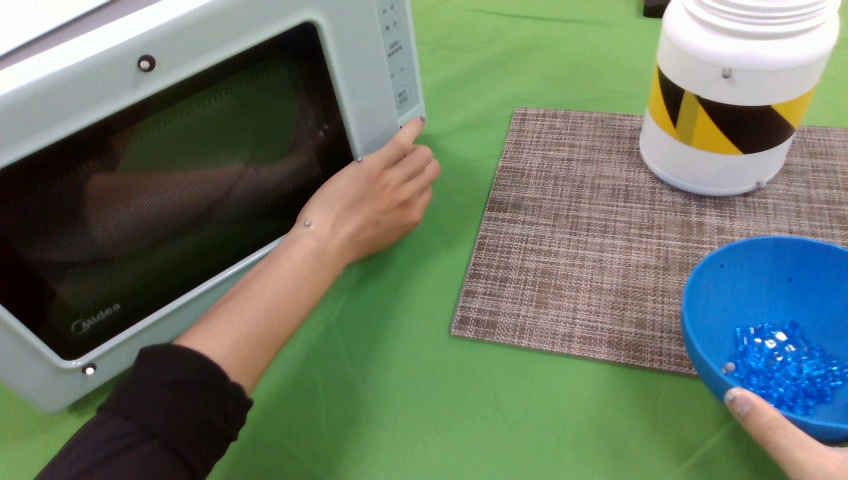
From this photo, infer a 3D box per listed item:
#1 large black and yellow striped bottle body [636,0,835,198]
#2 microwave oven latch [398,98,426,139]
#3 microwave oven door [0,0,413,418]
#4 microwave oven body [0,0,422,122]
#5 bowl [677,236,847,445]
[{"bbox_3d":[0.263,-0.142,0.523,0.130,0.186,0.129,-4,49,5],"label":"large black and yellow striped bottle body"},{"bbox_3d":[-0.032,-0.119,0.629,0.030,0.030,0.079,34,63,31],"label":"microwave oven latch"},{"bbox_3d":[-0.174,-0.038,0.444,0.356,0.246,0.039,-33,52,-19],"label":"microwave oven door"},{"bbox_3d":[-0.272,-0.141,0.555,0.323,0.263,0.441,32,61,30],"label":"microwave oven body"},{"bbox_3d":[0.243,0.077,0.406,0.151,0.077,0.150,-5,45,5],"label":"bowl"}]
